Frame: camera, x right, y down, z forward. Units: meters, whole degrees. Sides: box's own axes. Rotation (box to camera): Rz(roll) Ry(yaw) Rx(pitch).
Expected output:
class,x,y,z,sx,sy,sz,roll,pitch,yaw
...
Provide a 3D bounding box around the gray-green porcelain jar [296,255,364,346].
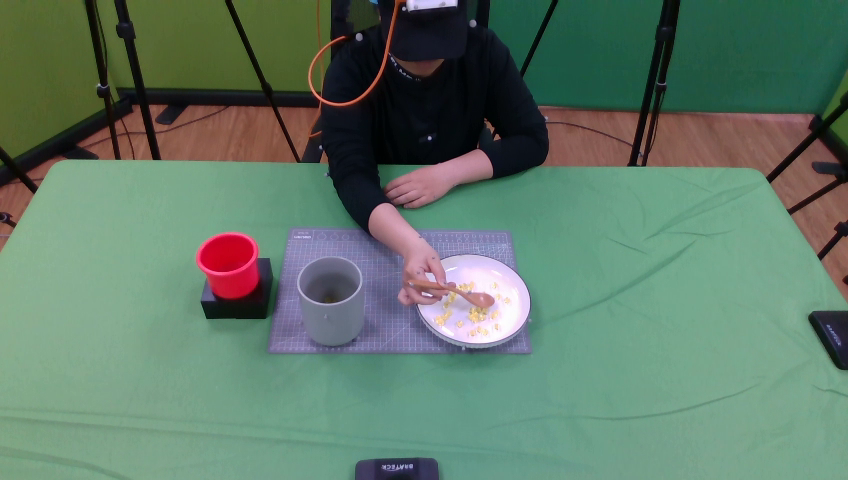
class,x,y,z,sx,sy,sz,roll,pitch,yaw
gray-green porcelain jar,-0.153,0.106,1.008,0.106,0.127,0.105,2,46,-2

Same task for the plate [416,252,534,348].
class,x,y,z,sx,sy,sz,roll,pitch,yaw
plate,0.090,0.109,1.084,0.208,0.039,0.206,2,46,-2

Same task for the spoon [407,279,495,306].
class,x,y,z,sx,sy,sz,roll,pitch,yaw
spoon,0.049,0.085,1.031,0.195,0.021,0.041,19,27,-38
